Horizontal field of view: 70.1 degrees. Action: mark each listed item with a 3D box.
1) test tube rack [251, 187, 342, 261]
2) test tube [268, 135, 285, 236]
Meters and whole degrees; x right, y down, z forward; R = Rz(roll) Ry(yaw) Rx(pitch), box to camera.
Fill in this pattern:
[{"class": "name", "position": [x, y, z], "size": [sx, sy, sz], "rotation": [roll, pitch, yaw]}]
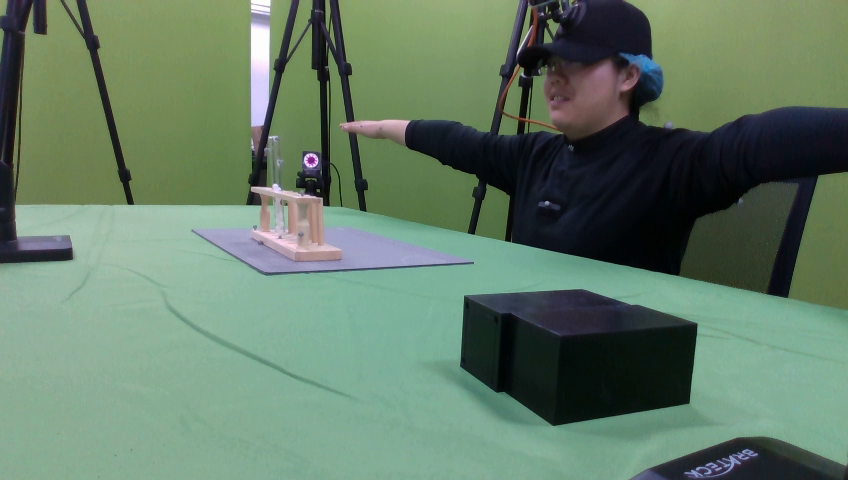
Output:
[{"class": "test tube rack", "position": [-0.196, -0.030, 0.902], "size": [0.067, 0.085, 0.241], "rotation": [-2, 8, -29]}, {"class": "test tube", "position": [-0.220, -0.081, 0.902], "size": [0.017, 0.150, 0.017], "rotation": [-3, 6, 1]}]
